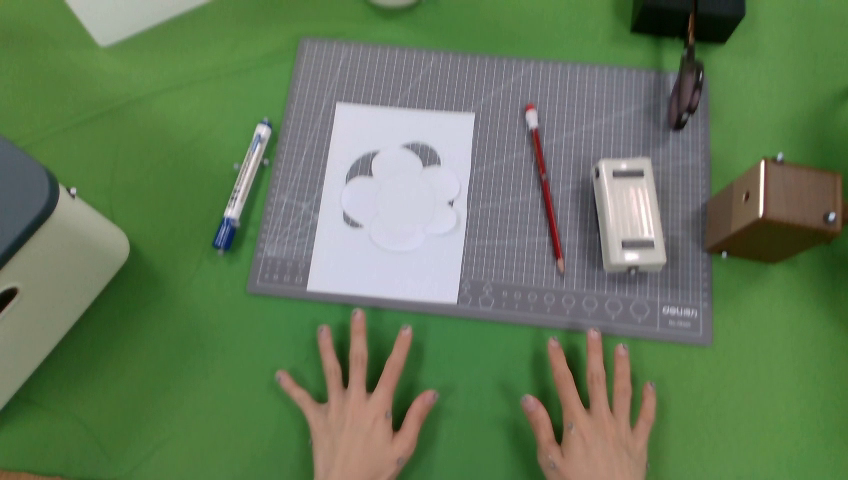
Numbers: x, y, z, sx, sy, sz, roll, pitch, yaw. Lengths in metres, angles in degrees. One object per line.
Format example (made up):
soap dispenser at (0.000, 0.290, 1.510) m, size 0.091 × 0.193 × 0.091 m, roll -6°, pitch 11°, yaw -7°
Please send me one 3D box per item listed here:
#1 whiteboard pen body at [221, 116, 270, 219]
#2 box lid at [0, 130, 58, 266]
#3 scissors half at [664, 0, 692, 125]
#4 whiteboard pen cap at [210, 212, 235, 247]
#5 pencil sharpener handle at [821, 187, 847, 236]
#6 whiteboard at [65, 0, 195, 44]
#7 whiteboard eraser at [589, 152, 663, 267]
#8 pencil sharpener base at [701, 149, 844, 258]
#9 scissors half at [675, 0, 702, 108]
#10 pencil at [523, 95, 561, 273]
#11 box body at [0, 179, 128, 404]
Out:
whiteboard pen body at (-0.187, -0.065, 0.623) m, size 0.017 × 0.017 × 0.140 m, roll 13°, pitch 72°, yaw 6°
box lid at (-0.497, -0.040, 0.469) m, size 0.370 × 0.015 × 0.262 m, roll 33°, pitch 76°, yaw 10°
scissors half at (0.269, -0.203, 0.634) m, size 0.013 × 0.040 × 0.174 m, roll 11°, pitch 82°, yaw 5°
whiteboard pen cap at (-0.200, -0.011, 0.604) m, size 0.018 × 0.018 × 0.033 m, roll 12°, pitch 69°, yaw 5°
pencil sharpener handle at (0.366, -0.023, 0.542) m, size 0.030 × 0.068 × 0.036 m, roll 10°, pitch 68°, yaw 1°
whiteboard at (-0.330, -0.403, 0.610) m, size 0.217 × 0.308 × 0.142 m, roll -27°, pitch 55°, yaw -6°
whiteboard eraser at (0.195, -0.030, 0.590) m, size 0.055 × 0.042 × 0.112 m, roll -2°, pitch 73°, yaw 1°
pencil sharpener base at (0.315, -0.029, 0.555) m, size 0.077 × 0.107 × 0.061 m, roll 10°, pitch 73°, yaw 1°
scissors half at (0.269, -0.209, 0.615) m, size 0.013 × 0.040 × 0.174 m, roll 12°, pitch 65°, yaw 0°
pencil at (0.121, -0.060, 0.618) m, size 0.012 × 0.012 × 0.193 m, roll -7°, pitch 75°, yaw -1°
box body at (-0.493, -0.017, 0.539) m, size 0.363 × 0.161 × 0.253 m, roll 33°, pitch 77°, yaw 10°
